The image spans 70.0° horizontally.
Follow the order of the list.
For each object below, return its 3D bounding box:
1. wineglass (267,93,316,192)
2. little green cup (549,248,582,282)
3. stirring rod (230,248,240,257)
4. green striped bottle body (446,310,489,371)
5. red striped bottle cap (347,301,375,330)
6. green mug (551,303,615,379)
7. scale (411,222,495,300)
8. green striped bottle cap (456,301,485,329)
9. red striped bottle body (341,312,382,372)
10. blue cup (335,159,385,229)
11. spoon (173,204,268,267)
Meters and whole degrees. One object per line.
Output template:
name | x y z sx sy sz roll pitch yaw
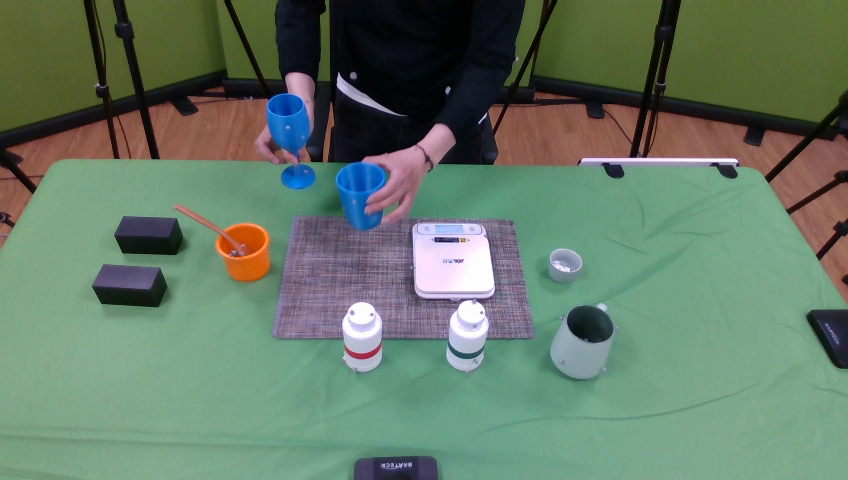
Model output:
wineglass | -0.235 -0.174 1.085 0.074 0.173 0.073 1 51 -2
little green cup | 0.268 0.050 1.156 0.061 0.039 0.061 2 46 -1
stirring rod | -0.330 0.023 1.059 0.014 0.176 0.006 33 79 -12
green striped bottle body | 0.070 0.155 0.984 0.063 0.120 0.063 2 46 -2
red striped bottle cap | -0.097 0.116 0.934 0.044 0.018 0.044 2 49 -3
green mug | 0.271 0.157 1.007 0.092 0.105 0.125 27 50 21
scale | 0.052 0.031 1.158 0.149 0.032 0.199 1 46 -4
green striped bottle cap | 0.073 0.116 0.943 0.044 0.020 0.044 4 46 -3
red striped bottle body | -0.100 0.154 0.972 0.063 0.120 0.062 2 46 -2
blue cup | -0.108 -0.075 1.059 0.092 0.101 0.092 0 45 0
spoon | -0.363 -0.009 1.089 0.021 0.195 0.041 -35 31 23
